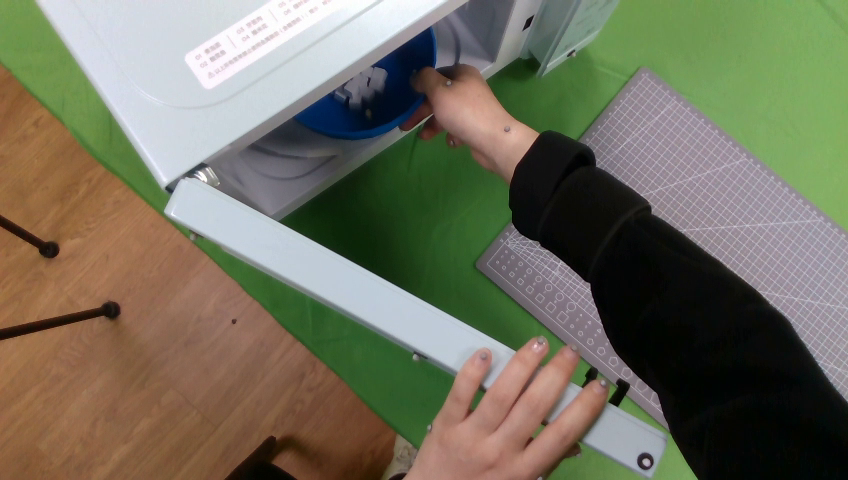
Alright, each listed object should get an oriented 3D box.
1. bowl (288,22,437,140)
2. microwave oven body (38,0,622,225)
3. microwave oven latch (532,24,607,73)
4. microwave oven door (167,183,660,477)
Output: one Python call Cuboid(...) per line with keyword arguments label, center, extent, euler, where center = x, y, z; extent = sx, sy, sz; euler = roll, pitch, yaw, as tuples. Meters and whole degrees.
Cuboid(label="bowl", center=(-0.064, -0.152, 0.551), extent=(0.151, 0.077, 0.150), euler=(0, 78, -2))
Cuboid(label="microwave oven body", center=(-0.071, -0.247, 0.549), extent=(0.441, 0.260, 0.325), euler=(-35, 85, -6))
Cuboid(label="microwave oven latch", center=(0.156, -0.215, 0.652), extent=(0.079, 0.029, 0.030), euler=(-33, 85, -6))
Cuboid(label="microwave oven door", center=(-0.011, 0.072, 0.502), extent=(0.356, 0.244, 0.039), euler=(28, 81, 2))
